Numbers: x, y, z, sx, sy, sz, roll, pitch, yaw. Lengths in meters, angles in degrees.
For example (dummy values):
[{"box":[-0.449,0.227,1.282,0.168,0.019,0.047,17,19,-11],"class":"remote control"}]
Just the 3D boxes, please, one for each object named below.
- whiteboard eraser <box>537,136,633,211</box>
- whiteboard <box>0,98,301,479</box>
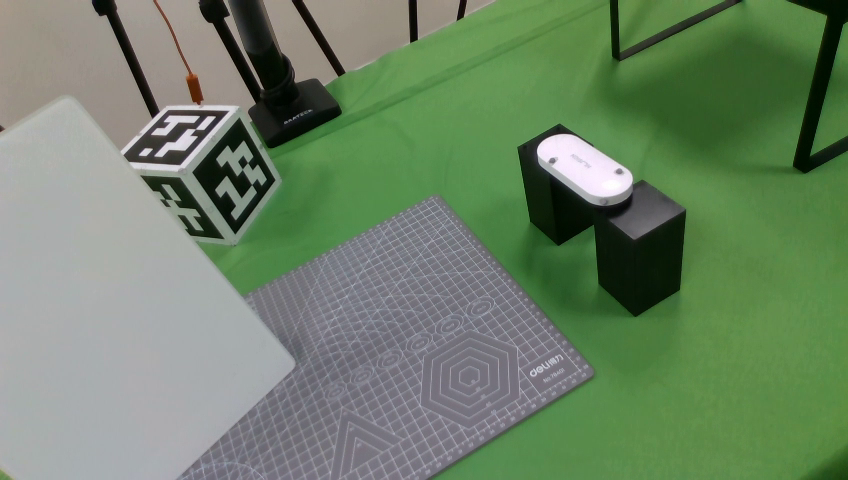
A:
[{"box":[0.136,-0.060,0.521,0.041,0.019,0.100,-29,45,-12],"class":"whiteboard eraser"},{"box":[-0.299,0.069,0.528,0.217,0.308,0.142,-44,29,-22],"class":"whiteboard"}]
